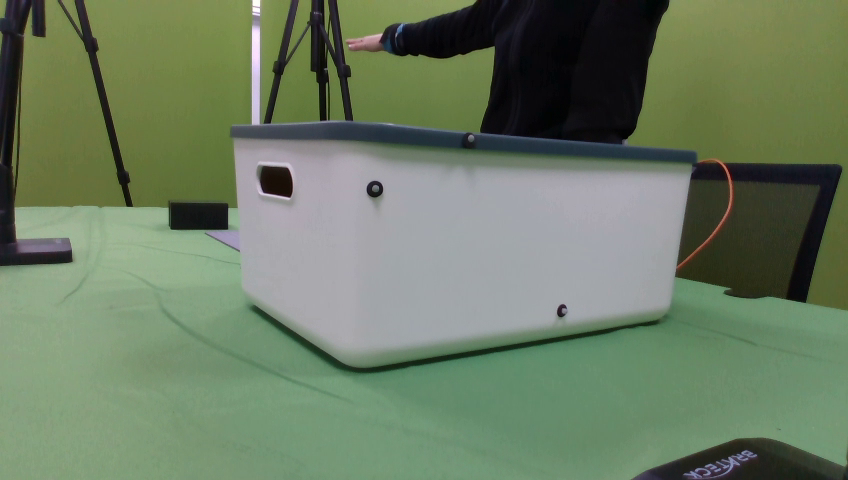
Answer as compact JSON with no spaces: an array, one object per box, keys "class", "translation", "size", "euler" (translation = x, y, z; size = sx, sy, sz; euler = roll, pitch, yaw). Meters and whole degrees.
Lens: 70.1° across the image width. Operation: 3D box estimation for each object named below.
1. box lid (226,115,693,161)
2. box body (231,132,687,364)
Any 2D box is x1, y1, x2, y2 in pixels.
[{"class":"box lid","translation":[0.031,-0.086,0.554],"size":[0.373,0.015,0.262],"euler":[-2,8,-33]},{"class":"box body","translation":[0.031,-0.013,0.563],"size":[0.366,0.160,0.253],"euler":[-3,8,-33]}]
